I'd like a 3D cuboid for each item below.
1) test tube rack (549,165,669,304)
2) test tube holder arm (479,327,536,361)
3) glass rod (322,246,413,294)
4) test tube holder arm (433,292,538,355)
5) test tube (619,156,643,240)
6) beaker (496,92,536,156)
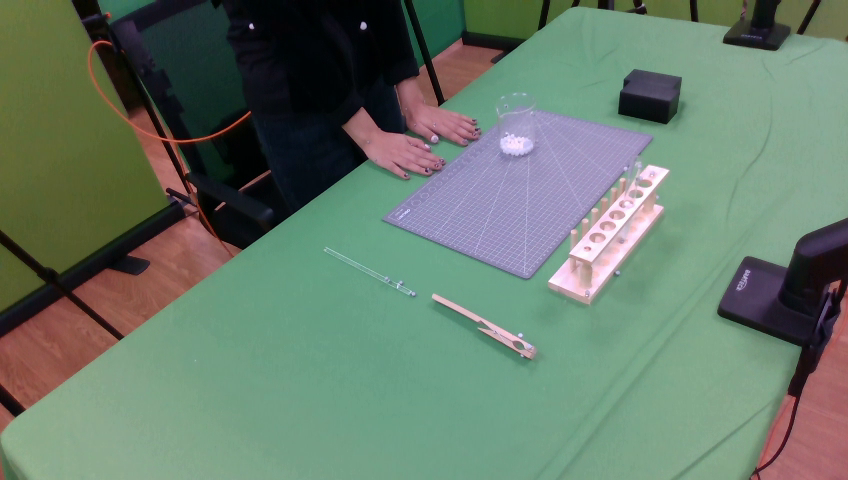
[{"bbox_3d":[0.279,-0.018,0.902,0.066,0.085,0.243,24,50,33],"label":"test tube rack"},{"bbox_3d":[0.110,0.134,0.805,0.087,0.015,0.010,29,83,36],"label":"test tube holder arm"},{"bbox_3d":[-0.093,0.045,0.956,0.198,0.008,0.008,24,51,33],"label":"glass rod"},{"bbox_3d":[0.081,0.113,0.832,0.177,0.015,0.013,28,82,36],"label":"test tube holder arm"},{"bbox_3d":[0.296,-0.056,0.866,0.017,0.151,0.017,-4,44,4],"label":"test tube"},{"bbox_3d":[0.172,-0.214,1.137,0.084,0.101,0.073,-36,46,-27],"label":"beaker"}]
